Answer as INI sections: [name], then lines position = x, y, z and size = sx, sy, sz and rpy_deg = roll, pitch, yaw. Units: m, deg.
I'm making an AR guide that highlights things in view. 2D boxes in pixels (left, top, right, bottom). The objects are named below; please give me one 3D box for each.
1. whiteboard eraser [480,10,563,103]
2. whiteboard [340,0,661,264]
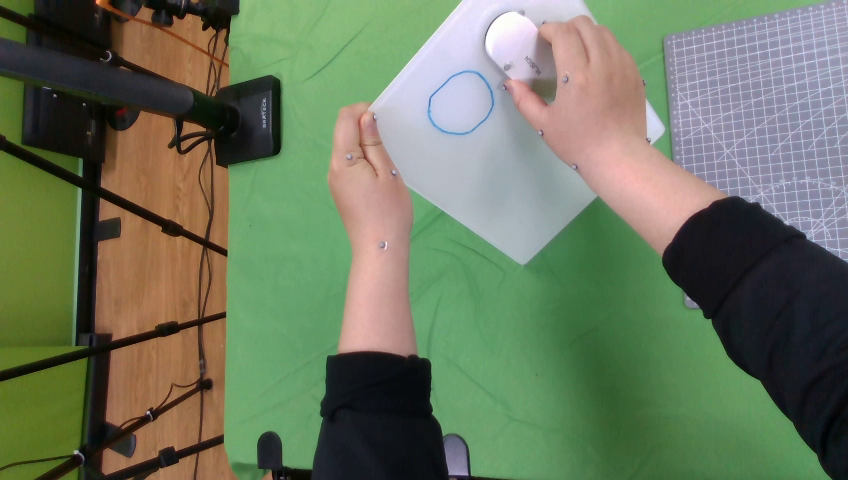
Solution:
[whiteboard eraser]
position = 0.083, -0.152, 0.508
size = 0.041, 0.102, 0.018
rpy_deg = -46, 47, 12
[whiteboard]
position = 0.067, -0.144, 0.618
size = 0.217, 0.308, 0.142
rpy_deg = -45, 48, 13
